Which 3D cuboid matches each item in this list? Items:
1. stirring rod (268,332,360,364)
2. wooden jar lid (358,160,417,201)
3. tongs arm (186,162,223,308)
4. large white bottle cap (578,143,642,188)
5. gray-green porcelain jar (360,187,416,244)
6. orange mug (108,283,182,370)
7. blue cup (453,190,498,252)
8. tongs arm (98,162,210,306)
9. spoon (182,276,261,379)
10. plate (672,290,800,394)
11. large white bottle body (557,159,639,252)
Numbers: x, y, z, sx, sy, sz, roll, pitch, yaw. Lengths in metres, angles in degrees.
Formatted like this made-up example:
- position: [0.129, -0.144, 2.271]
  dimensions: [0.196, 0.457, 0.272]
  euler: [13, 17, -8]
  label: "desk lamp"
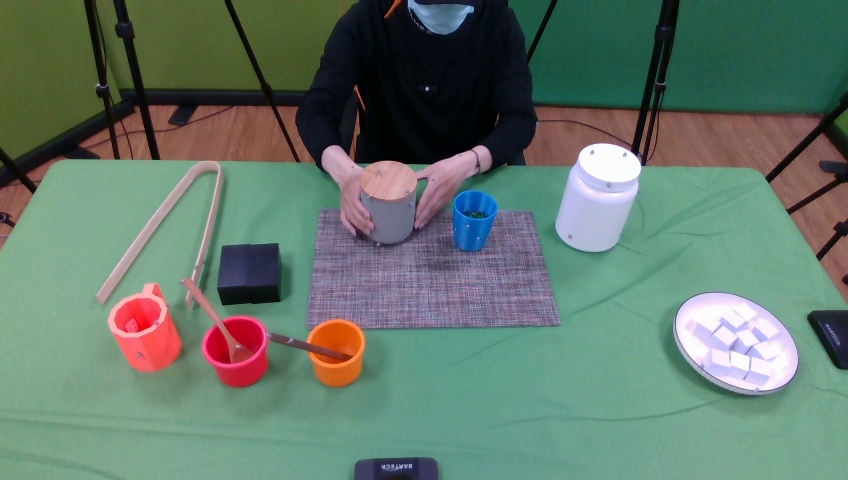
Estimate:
- position: [-0.167, 0.169, 0.941]
  dimensions: [0.177, 0.006, 0.014]
  euler: [26, 27, -40]
  label: "stirring rod"
- position: [-0.068, -0.107, 1.131]
  dimensions: [0.108, 0.021, 0.107]
  euler: [3, 49, -3]
  label: "wooden jar lid"
- position: [-0.435, -0.025, 1.180]
  dimensions: [0.051, 0.027, 0.382]
  euler: [-4, 46, 1]
  label: "tongs arm"
- position: [0.344, -0.139, 1.123]
  dimensions: [0.115, 0.018, 0.114]
  euler: [2, 46, -2]
  label: "large white bottle cap"
- position: [-0.070, -0.064, 1.175]
  dimensions: [0.106, 0.127, 0.105]
  euler: [2, 46, -2]
  label: "gray-green porcelain jar"
- position: [-0.445, 0.133, 0.983]
  dimensions: [0.083, 0.101, 0.125]
  euler: [-1, 50, -5]
  label: "orange mug"
- position: [0.094, -0.032, 1.173]
  dimensions: [0.093, 0.101, 0.092]
  euler: [3, 45, -3]
  label: "blue cup"
- position: [-0.519, -0.027, 1.185]
  dimensions: [0.028, 0.028, 0.385]
  euler: [4, 46, 13]
  label: "tongs arm"
- position: [-0.321, 0.137, 0.957]
  dimensions: [0.041, 0.021, 0.194]
  euler: [-36, 102, -32]
  label: "spoon"
- position: [0.533, 0.178, 1.050]
  dimensions: [0.208, 0.039, 0.206]
  euler: [2, 46, -2]
  label: "plate"
- position: [0.340, -0.081, 1.185]
  dimensions: [0.131, 0.185, 0.130]
  euler: [2, 46, -1]
  label: "large white bottle body"
